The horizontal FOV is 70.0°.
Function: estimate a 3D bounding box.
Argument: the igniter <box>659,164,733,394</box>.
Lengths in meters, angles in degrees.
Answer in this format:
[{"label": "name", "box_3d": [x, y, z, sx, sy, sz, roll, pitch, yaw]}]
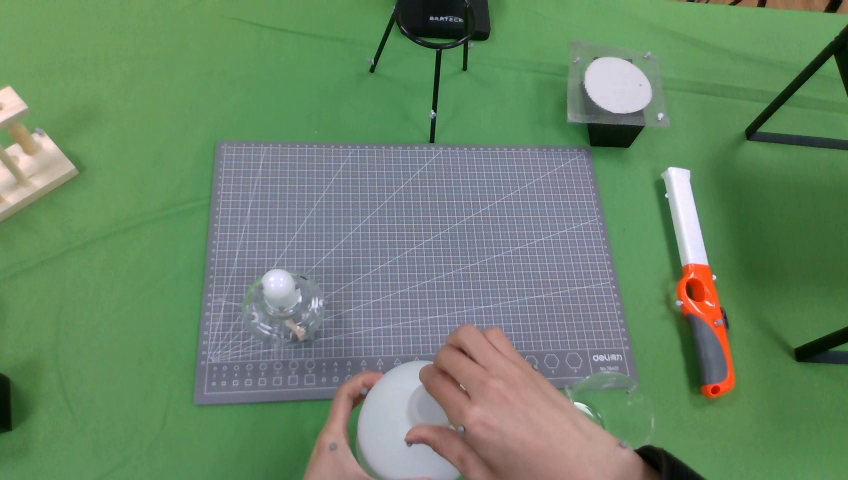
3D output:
[{"label": "igniter", "box_3d": [0.309, 0.037, 0.692, 0.057, 0.025, 0.274, 7, 65, -16]}]

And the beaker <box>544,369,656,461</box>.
[{"label": "beaker", "box_3d": [0.157, 0.168, 0.573, 0.084, 0.101, 0.073, 30, 65, 8]}]

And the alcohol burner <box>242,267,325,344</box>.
[{"label": "alcohol burner", "box_3d": [-0.133, 0.056, 0.572, 0.078, 0.120, 0.077, 4, 64, -8]}]

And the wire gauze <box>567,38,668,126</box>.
[{"label": "wire gauze", "box_3d": [0.234, -0.193, 0.744, 0.121, 0.011, 0.124, 7, 65, -5]}]

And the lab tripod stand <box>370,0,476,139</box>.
[{"label": "lab tripod stand", "box_3d": [0.007, -0.214, 0.708, 0.149, 0.132, 0.147, 4, 66, -8]}]

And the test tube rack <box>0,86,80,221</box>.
[{"label": "test tube rack", "box_3d": [-0.479, -0.041, 0.587, 0.242, 0.085, 0.066, -40, 76, -22]}]

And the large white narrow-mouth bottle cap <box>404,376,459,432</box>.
[{"label": "large white narrow-mouth bottle cap", "box_3d": [0.005, 0.115, 0.427, 0.038, 0.024, 0.037, 3, 65, -6]}]

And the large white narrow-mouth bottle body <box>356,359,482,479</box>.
[{"label": "large white narrow-mouth bottle body", "box_3d": [-0.005, 0.154, 0.504, 0.102, 0.196, 0.101, 3, 64, -6]}]

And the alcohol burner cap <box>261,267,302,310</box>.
[{"label": "alcohol burner cap", "box_3d": [-0.129, 0.042, 0.539, 0.034, 0.048, 0.033, 1, 72, -3]}]
